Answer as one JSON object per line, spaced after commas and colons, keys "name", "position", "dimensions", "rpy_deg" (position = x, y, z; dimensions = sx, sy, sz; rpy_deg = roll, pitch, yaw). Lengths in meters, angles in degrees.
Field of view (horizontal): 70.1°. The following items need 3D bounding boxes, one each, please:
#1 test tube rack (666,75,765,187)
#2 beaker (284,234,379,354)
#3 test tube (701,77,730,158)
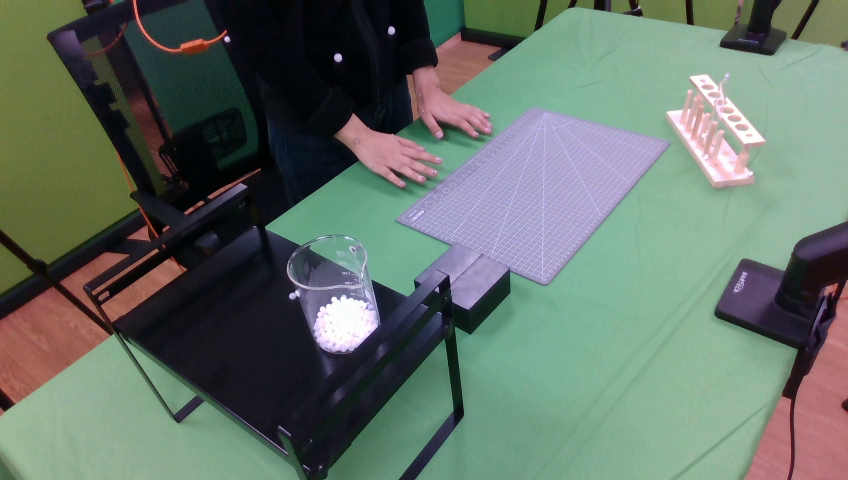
{"name": "test tube rack", "position": [0.512, -0.201, 1.082], "dimensions": [0.067, 0.085, 0.241], "rpy_deg": [-6, 41, 2]}
{"name": "beaker", "position": [-0.083, 0.056, 0.585], "dimensions": [0.083, 0.101, 0.074], "rpy_deg": [28, 53, 33]}
{"name": "test tube", "position": [0.491, -0.204, 1.020], "dimensions": [0.017, 0.151, 0.017], "rpy_deg": [-4, 41, 4]}
